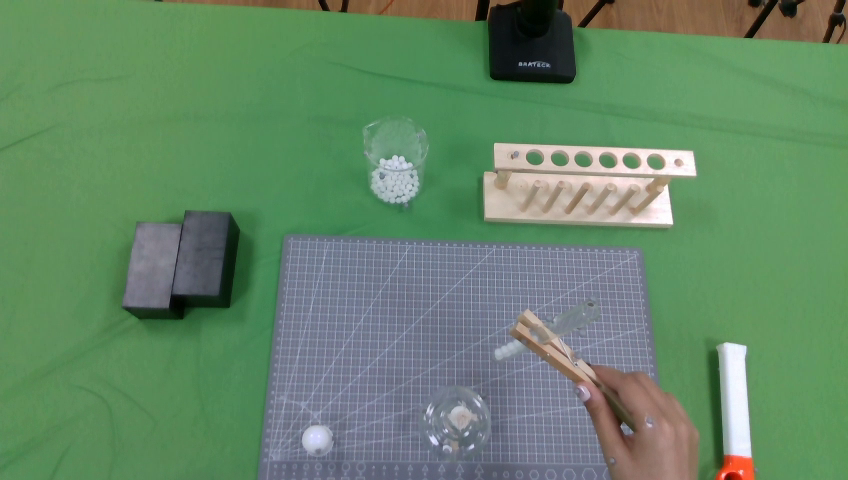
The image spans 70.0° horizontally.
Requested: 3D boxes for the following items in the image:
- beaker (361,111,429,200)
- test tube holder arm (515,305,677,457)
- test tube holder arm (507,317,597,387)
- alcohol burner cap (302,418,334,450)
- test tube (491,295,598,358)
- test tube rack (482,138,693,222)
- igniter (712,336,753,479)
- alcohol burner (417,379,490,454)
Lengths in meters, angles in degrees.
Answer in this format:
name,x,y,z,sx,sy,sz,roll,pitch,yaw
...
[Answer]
name,x,y,z,sx,sy,sz,roll,pitch,yaw
beaker,-0.039,-0.099,0.736,0.084,0.101,0.073,29,70,7
test tube holder arm,0.145,0.119,0.510,0.178,0.015,0.013,42,61,-2
test tube holder arm,0.108,0.094,0.505,0.088,0.015,0.010,36,61,-5
alcohol burner cap,-0.114,0.205,0.644,0.034,0.048,0.033,2,69,-4
test tube,0.094,0.075,0.503,0.017,0.150,0.017,9,64,-20
test tube rack,0.198,-0.072,0.752,0.243,0.085,0.066,2,69,-4
igniter,0.348,0.245,0.678,0.057,0.025,0.274,11,69,-11
alcohol burner,0.033,0.180,0.627,0.078,0.120,0.077,2,67,-4
